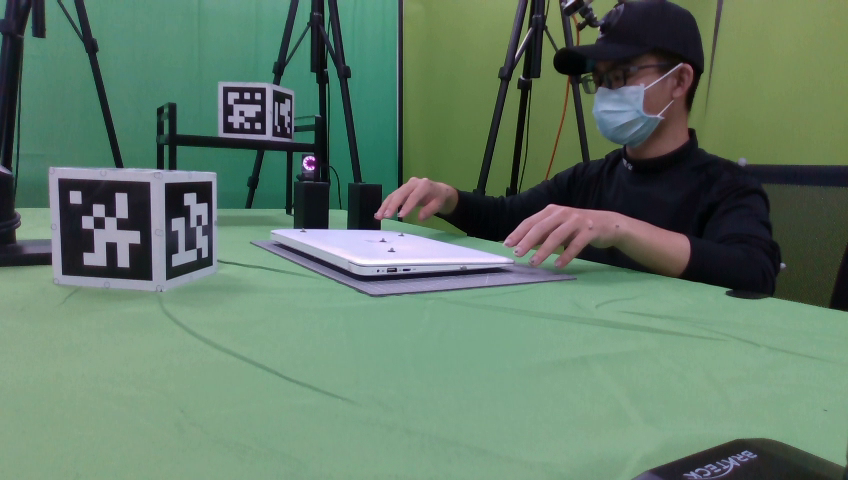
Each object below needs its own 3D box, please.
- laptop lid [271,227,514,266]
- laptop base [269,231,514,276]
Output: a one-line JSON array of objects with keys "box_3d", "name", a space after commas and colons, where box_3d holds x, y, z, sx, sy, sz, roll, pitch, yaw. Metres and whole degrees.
[{"box_3d": [-0.063, 0.005, 0.893, 0.243, 0.013, 0.355, 1, 7, -30], "name": "laptop lid"}, {"box_3d": [-0.066, 0.017, 0.893, 0.237, 0.023, 0.352, 2, 6, -32], "name": "laptop base"}]
